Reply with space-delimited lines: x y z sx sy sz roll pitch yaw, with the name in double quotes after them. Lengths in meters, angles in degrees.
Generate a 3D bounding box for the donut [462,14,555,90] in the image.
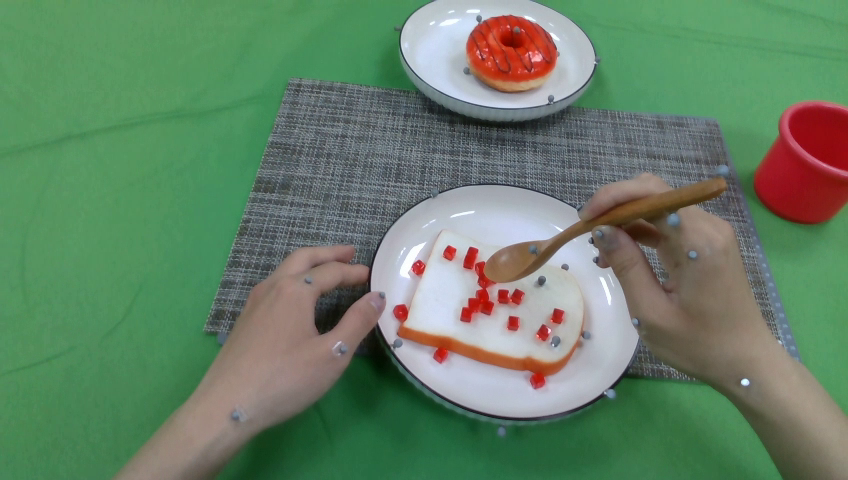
0.088 -0.197 0.636 0.099 0.048 0.098 3 54 -4 "donut"

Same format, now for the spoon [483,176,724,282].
0.094 -0.004 0.368 0.022 0.193 0.041 45 61 -7 "spoon"

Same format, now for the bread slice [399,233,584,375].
0.057 0.047 0.469 0.131 0.019 0.104 14 54 9 "bread slice"

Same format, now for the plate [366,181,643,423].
0.060 0.043 0.468 0.209 0.038 0.207 2 54 -3 "plate"

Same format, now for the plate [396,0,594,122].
0.073 -0.192 0.646 0.208 0.039 0.205 3 51 -3 "plate"
